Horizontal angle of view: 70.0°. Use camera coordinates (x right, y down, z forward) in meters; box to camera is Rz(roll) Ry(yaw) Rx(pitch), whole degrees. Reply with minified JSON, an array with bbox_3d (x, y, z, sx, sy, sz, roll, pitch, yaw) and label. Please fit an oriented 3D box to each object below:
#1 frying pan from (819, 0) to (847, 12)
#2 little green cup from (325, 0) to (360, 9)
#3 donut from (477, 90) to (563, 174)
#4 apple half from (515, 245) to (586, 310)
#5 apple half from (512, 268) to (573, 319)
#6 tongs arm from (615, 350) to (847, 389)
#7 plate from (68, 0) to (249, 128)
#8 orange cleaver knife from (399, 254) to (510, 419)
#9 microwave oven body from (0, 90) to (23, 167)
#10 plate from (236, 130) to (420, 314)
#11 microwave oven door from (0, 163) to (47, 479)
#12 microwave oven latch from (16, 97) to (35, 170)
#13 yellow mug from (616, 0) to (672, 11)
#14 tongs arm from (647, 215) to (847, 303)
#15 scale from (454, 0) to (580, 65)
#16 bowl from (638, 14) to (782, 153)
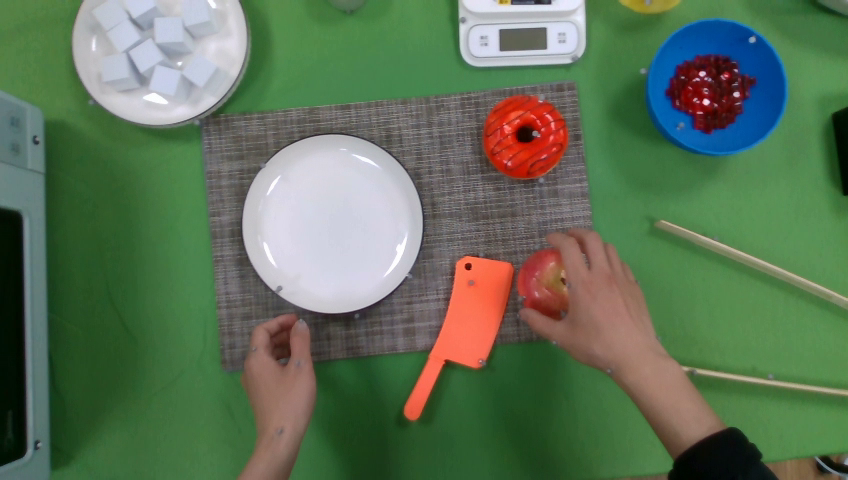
[{"bbox_3d":[0.585,-0.308,0.678,0.307,0.103,0.485,-33,79,0],"label":"frying pan"},{"bbox_3d":[-0.099,-0.307,0.718,0.061,0.038,0.061,0,86,1],"label":"little green cup"},{"bbox_3d":[0.110,-0.124,0.698,0.099,0.048,0.099,0,87,3],"label":"donut"},{"bbox_3d":[0.146,0.035,0.675,0.080,0.075,0.053,36,84,6],"label":"apple half"},{"bbox_3d":[0.123,0.066,0.671,0.081,0.081,0.033,37,83,3],"label":"apple half"},{"bbox_3d":[0.414,0.139,0.687,0.385,0.026,0.050,10,83,1],"label":"tongs arm"},{"bbox_3d":[-0.307,-0.232,0.716,0.208,0.039,0.207,0,86,1],"label":"plate"},{"bbox_3d":[0.036,0.112,0.696,0.077,0.012,0.211,23,84,-5],"label":"orange cleaver knife"},{"bbox_3d":[-0.604,0.057,0.587,0.326,0.260,0.441,-3,87,0],"label":"microwave oven body"},{"bbox_3d":[-0.108,-0.020,0.698,0.209,0.038,0.208,0,87,1],"label":"plate"},{"bbox_3d":[-0.456,0.090,0.578,0.039,0.244,0.355,-4,86,1],"label":"microwave oven door"},{"bbox_3d":[-0.464,-0.121,0.692,0.030,0.029,0.079,-1,87,0],"label":"microwave oven latch"},{"bbox_3d":[0.255,-0.340,0.702,0.100,0.064,0.130,-38,86,-1],"label":"yellow mug"},{"bbox_3d":[0.436,0.055,0.693,0.387,0.028,0.028,24,80,2],"label":"tongs arm"},{"bbox_3d":[0.109,-0.312,0.719,0.149,0.031,0.200,-2,87,1],"label":"scale"},{"bbox_3d":[0.309,-0.166,0.686,0.151,0.077,0.151,0,87,1],"label":"bowl"}]
